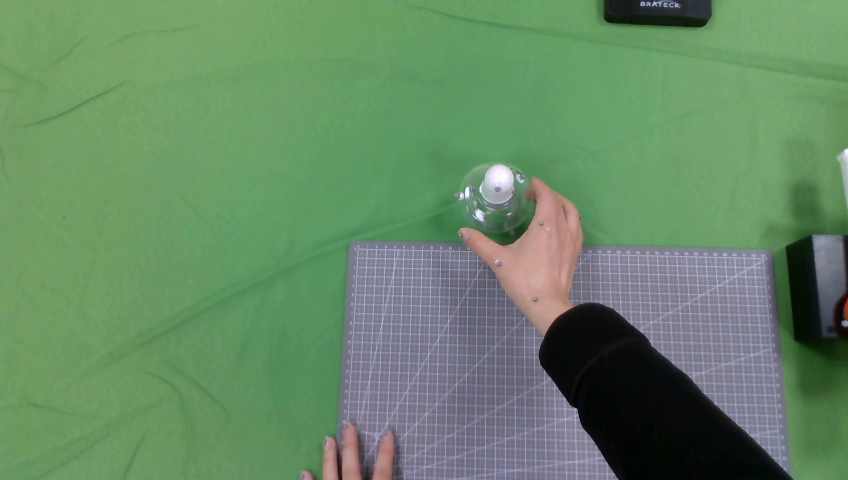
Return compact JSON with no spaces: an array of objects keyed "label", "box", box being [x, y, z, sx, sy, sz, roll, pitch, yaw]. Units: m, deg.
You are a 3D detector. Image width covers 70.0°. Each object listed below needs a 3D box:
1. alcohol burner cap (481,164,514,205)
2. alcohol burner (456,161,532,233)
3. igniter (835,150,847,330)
[{"label":"alcohol burner cap","box":[0.071,-0.055,0.581,0.034,0.048,0.033,-1,78,4]},{"label":"alcohol burner","box":[0.071,-0.049,0.610,0.078,0.119,0.077,-1,77,4]},{"label":"igniter","box":[0.425,0.044,0.574,0.057,0.025,0.275,2,75,4]}]
